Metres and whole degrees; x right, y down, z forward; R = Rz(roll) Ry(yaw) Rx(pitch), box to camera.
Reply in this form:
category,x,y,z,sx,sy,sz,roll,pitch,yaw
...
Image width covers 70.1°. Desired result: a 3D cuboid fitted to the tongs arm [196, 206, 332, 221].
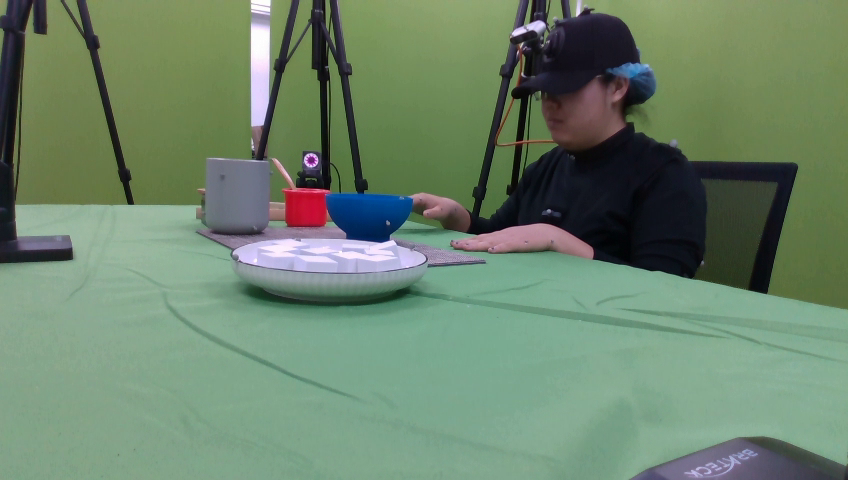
category,x,y,z,sx,sy,sz,roll,pitch,yaw
tongs arm,-0.294,-0.058,1.330,0.389,0.028,0.028,0,5,-20

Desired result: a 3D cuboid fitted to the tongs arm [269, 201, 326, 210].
category,x,y,z,sx,sy,sz,roll,pitch,yaw
tongs arm,-0.308,-0.073,1.410,0.386,0.026,0.050,3,8,-6

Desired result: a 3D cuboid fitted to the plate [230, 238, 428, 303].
category,x,y,z,sx,sy,sz,roll,pitch,yaw
plate,-0.099,0.032,0.651,0.209,0.038,0.209,3,8,0

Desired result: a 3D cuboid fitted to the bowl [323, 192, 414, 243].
category,x,y,z,sx,sy,sz,roll,pitch,yaw
bowl,-0.094,-0.037,1.015,0.151,0.077,0.151,3,7,0

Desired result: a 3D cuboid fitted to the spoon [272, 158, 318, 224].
category,x,y,z,sx,sy,sz,roll,pitch,yaw
spoon,-0.268,-0.103,1.236,0.042,0.193,0.021,-9,-32,-40

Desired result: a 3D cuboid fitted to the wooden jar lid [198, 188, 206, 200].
category,x,y,z,sx,sy,sz,roll,pitch,yaw
wooden jar lid,-0.382,-0.088,1.175,0.108,0.020,0.108,3,8,0

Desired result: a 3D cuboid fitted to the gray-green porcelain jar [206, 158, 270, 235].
category,x,y,z,sx,sy,sz,roll,pitch,yaw
gray-green porcelain jar,-0.322,-0.076,1.048,0.106,0.126,0.106,3,7,0
